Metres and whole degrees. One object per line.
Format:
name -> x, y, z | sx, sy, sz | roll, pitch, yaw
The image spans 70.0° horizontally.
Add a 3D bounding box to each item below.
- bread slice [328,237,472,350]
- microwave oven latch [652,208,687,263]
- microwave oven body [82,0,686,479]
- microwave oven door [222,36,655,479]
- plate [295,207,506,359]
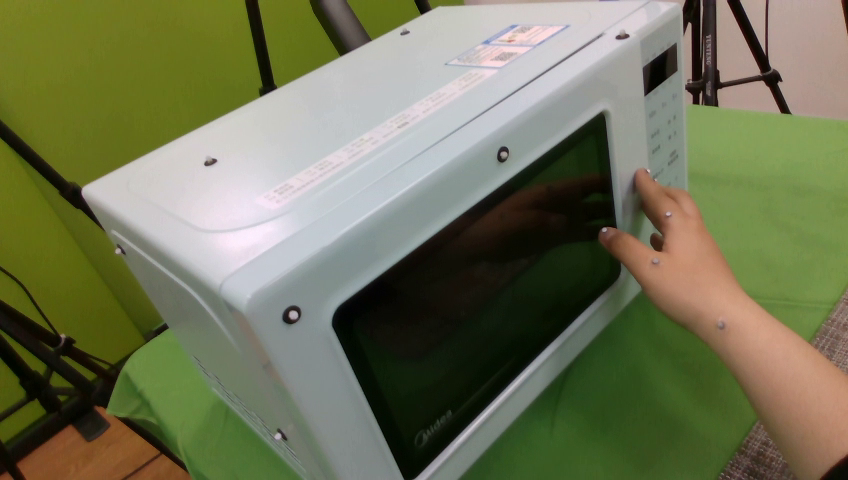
bread slice -> -0.021, 0.042, 0.590 | 0.131, 0.019, 0.104 | -33, 36, -19
microwave oven latch -> 0.236, -0.004, 0.612 | 0.079, 0.030, 0.030 | -37, 37, -26
microwave oven body -> -0.012, -0.023, 0.580 | 0.441, 0.263, 0.323 | -38, 38, -28
microwave oven door -> 0.056, 0.031, 0.452 | 0.355, 0.246, 0.039 | -37, 37, -28
plate -> -0.020, 0.040, 0.584 | 0.209, 0.038, 0.207 | -13, 32, 9
